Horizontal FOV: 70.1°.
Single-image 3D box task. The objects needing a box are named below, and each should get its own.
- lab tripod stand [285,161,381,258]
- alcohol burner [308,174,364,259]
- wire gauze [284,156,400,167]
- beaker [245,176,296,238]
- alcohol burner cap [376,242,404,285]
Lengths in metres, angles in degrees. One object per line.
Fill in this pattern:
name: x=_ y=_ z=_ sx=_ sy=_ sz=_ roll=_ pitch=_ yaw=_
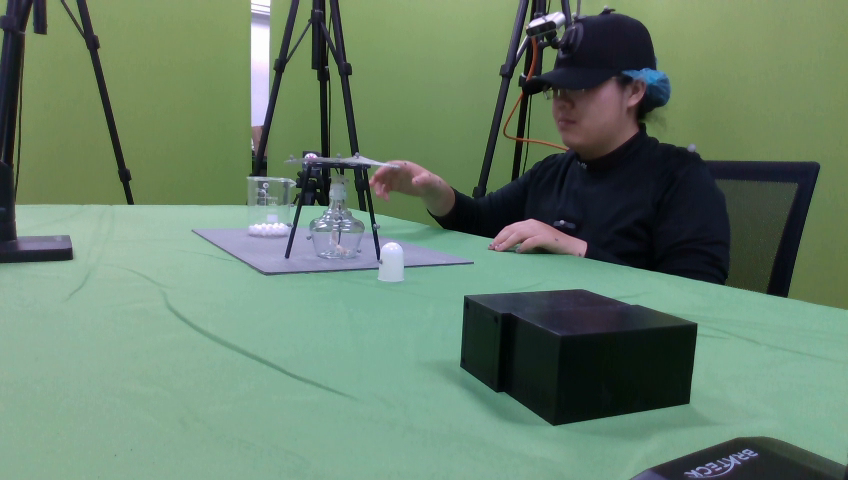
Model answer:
lab tripod stand: x=-0.123 y=-0.043 z=0.842 sx=0.148 sy=0.131 sz=0.148 roll=3 pitch=9 yaw=0
alcohol burner: x=-0.121 y=-0.033 z=0.843 sx=0.078 sy=0.119 sz=0.078 roll=3 pitch=5 yaw=0
wire gauze: x=-0.115 y=-0.109 z=0.835 sx=0.126 sy=0.011 sz=0.121 roll=-3 pitch=10 yaw=-30
beaker: x=-0.263 y=-0.057 z=1.034 sx=0.084 sy=0.100 sz=0.074 roll=1 pitch=8 yaw=-17
alcohol burner cap: x=-0.039 y=0.026 z=0.710 sx=0.034 sy=0.048 sz=0.034 roll=3 pitch=6 yaw=0
